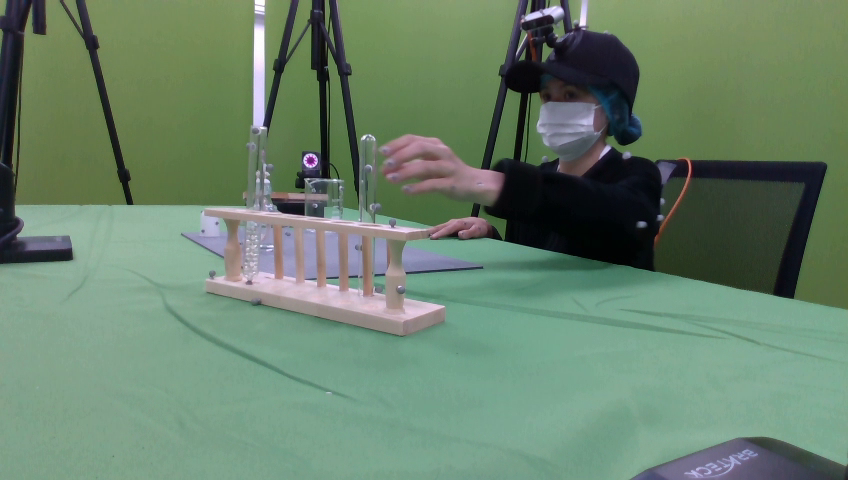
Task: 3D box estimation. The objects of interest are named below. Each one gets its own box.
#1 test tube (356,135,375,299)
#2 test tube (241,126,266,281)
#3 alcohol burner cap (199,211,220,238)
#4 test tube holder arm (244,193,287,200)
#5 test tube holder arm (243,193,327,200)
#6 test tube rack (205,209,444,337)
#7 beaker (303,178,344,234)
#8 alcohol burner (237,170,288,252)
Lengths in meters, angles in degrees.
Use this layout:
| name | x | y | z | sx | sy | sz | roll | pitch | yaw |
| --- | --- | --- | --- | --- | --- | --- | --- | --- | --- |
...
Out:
| name | x | y | z | sx | sy | sz | roll | pitch | yaw |
| --- | --- | --- | --- | --- | --- | --- | --- | --- | --- |
| test tube | -0.053 | -0.019 | 0.550 | 0.017 | 0.150 | 0.017 | 2 | 9 | 0 |
| test tube | -0.164 | -0.034 | 0.582 | 0.017 | 0.150 | 0.017 | 6 | 9 | -1 |
| alcohol burner cap | -0.356 | -0.027 | 1.002 | 0.034 | 0.048 | 0.034 | 2 | 7 | 0 |
| test tube holder arm | -0.322 | -0.089 | 1.232 | 0.088 | 0.015 | 0.010 | -2 | 3 | -32 |
| test tube holder arm | -0.287 | -0.090 | 1.262 | 0.179 | 0.015 | 0.013 | -2 | 3 | -33 |
| test tube rack | -0.100 | 0.021 | 0.565 | 0.241 | 0.085 | 0.067 | 7 | 8 | 32 |
| beaker | -0.189 | -0.063 | 1.119 | 0.073 | 0.100 | 0.084 | 6 | 9 | 28 |
| alcohol burner | -0.236 | -0.042 | 0.882 | 0.078 | 0.119 | 0.078 | 2 | 9 | 0 |
